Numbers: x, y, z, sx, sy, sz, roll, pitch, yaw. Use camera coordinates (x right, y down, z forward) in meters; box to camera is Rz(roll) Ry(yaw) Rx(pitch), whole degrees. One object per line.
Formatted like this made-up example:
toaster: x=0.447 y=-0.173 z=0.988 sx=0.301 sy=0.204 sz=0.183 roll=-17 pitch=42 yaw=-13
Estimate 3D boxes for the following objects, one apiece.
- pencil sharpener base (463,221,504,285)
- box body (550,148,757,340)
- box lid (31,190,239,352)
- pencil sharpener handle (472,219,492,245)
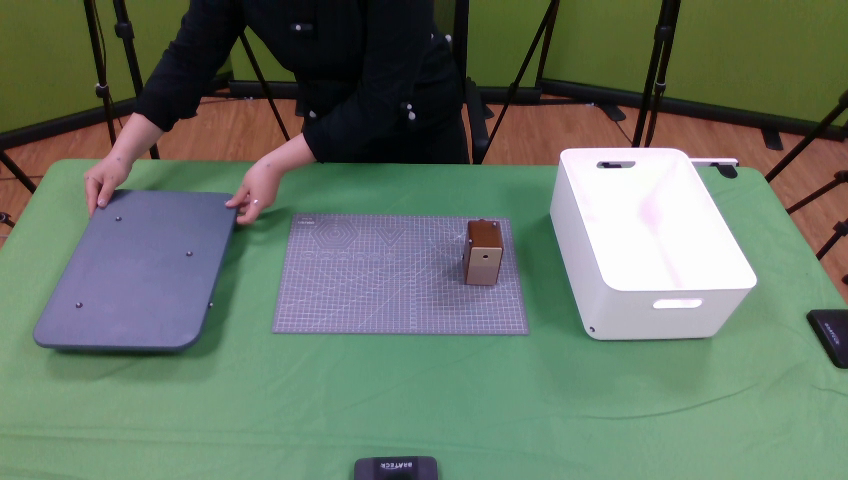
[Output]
pencil sharpener base: x=0.107 y=0.024 z=1.119 sx=0.061 sy=0.107 sz=0.076 roll=1 pitch=45 yaw=-2
box body: x=0.395 y=0.003 z=1.127 sx=0.254 sy=0.161 sz=0.361 roll=-1 pitch=46 yaw=-5
box lid: x=-0.491 y=0.040 z=1.070 sx=0.263 sy=0.015 sz=0.369 roll=1 pitch=46 yaw=-3
pencil sharpener handle: x=0.105 y=-0.021 z=1.146 sx=0.036 sy=0.068 sz=0.030 roll=6 pitch=44 yaw=-7
